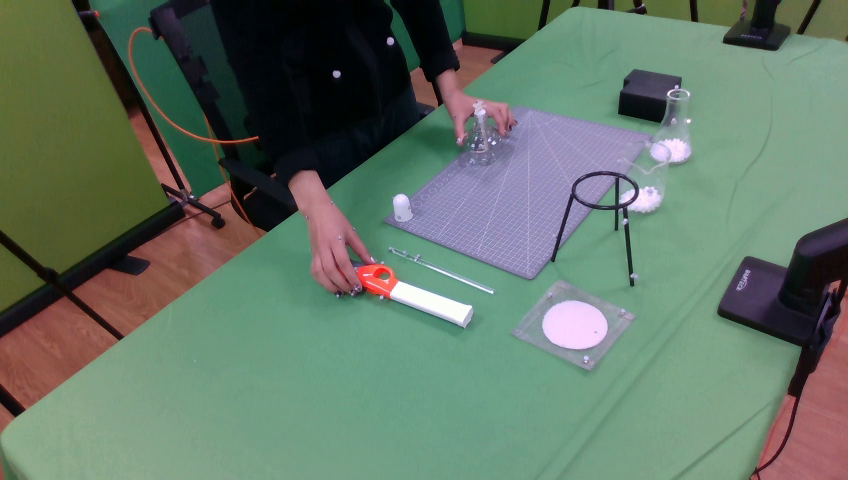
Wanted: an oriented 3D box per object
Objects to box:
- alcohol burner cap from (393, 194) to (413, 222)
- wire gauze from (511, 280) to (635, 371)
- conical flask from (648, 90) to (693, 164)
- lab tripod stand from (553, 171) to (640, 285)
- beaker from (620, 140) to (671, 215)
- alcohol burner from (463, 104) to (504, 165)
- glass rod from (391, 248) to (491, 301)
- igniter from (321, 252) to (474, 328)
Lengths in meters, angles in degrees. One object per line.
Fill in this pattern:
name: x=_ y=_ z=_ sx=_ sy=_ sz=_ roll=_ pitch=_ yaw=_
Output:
alcohol burner cap: x=-0.038 y=-0.057 z=1.038 sx=0.034 sy=0.048 sz=0.033 roll=-5 pitch=41 yaw=5
wire gauze: x=0.203 y=0.114 z=0.822 sx=0.120 sy=0.011 sz=0.125 roll=25 pitch=52 yaw=35
conical flask: x=0.437 y=-0.199 z=1.057 sx=0.075 sy=0.122 sz=0.075 roll=-5 pitch=40 yaw=5
lab tripod stand: x=0.260 y=-0.025 z=0.877 sx=0.148 sy=0.132 sz=0.147 roll=-6 pitch=38 yaw=5
beaker: x=0.352 y=-0.096 z=0.971 sx=0.074 sy=0.101 sz=0.084 roll=1 pitch=42 yaw=13
alcohol burner: x=0.109 y=-0.201 z=1.126 sx=0.078 sy=0.119 sz=0.077 roll=-5 pitch=42 yaw=5
glass rod: x=0.023 y=0.050 z=0.935 sx=0.198 sy=0.008 sz=0.008 roll=25 pitch=52 yaw=33
igniter: x=-0.051 y=0.071 z=0.906 sx=0.274 sy=0.025 sz=0.057 roll=18 pitch=57 yaw=29
